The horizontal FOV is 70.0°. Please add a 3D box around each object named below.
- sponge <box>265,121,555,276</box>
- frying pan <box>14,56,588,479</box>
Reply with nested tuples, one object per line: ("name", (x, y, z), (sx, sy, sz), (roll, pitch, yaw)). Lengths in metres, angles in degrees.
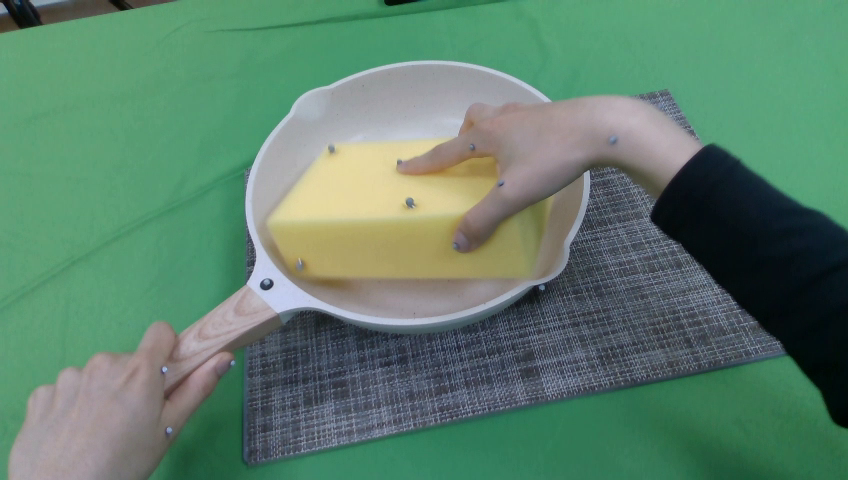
("sponge", (-0.007, -0.031, 0.493), (0.206, 0.061, 0.117), (-2, 39, 23))
("frying pan", (-0.081, 0.010, 0.490), (0.487, 0.103, 0.304), (-37, 59, -28))
